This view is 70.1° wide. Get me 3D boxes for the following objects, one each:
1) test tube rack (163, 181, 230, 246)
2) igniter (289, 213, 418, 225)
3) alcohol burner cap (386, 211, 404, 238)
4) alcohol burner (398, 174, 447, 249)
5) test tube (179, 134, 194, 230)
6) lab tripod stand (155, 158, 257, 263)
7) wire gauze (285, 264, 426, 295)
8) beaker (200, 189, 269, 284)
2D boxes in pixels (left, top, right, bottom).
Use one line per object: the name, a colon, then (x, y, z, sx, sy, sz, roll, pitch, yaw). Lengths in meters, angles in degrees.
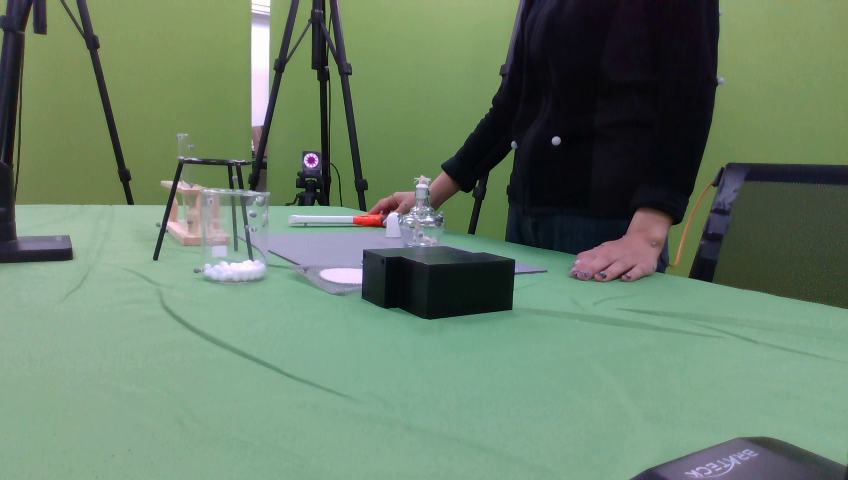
test tube rack: (-0.387, -0.050, 1.015, 0.067, 0.085, 0.241, -2, 9, -30)
igniter: (-0.143, -0.044, 1.274, 0.278, 0.025, 0.057, -1, 2, -27)
alcohol burner cap: (-0.053, -0.029, 1.107, 0.034, 0.048, 0.034, 2, 8, 0)
alcohol burner: (-0.002, -0.046, 0.973, 0.078, 0.119, 0.078, 0, 7, 0)
test tube: (-0.366, -0.089, 0.938, 0.017, 0.150, 0.017, -1, 9, 1)
lab tripod stand: (-0.275, -0.041, 0.797, 0.148, 0.131, 0.148, 2, 9, 0)
wire gauze: (-0.079, 0.039, 0.692, 0.122, 0.011, 0.124, -4, 11, -37)
beaker: (-0.209, -0.006, 0.676, 0.073, 0.100, 0.084, 7, 8, 28)
